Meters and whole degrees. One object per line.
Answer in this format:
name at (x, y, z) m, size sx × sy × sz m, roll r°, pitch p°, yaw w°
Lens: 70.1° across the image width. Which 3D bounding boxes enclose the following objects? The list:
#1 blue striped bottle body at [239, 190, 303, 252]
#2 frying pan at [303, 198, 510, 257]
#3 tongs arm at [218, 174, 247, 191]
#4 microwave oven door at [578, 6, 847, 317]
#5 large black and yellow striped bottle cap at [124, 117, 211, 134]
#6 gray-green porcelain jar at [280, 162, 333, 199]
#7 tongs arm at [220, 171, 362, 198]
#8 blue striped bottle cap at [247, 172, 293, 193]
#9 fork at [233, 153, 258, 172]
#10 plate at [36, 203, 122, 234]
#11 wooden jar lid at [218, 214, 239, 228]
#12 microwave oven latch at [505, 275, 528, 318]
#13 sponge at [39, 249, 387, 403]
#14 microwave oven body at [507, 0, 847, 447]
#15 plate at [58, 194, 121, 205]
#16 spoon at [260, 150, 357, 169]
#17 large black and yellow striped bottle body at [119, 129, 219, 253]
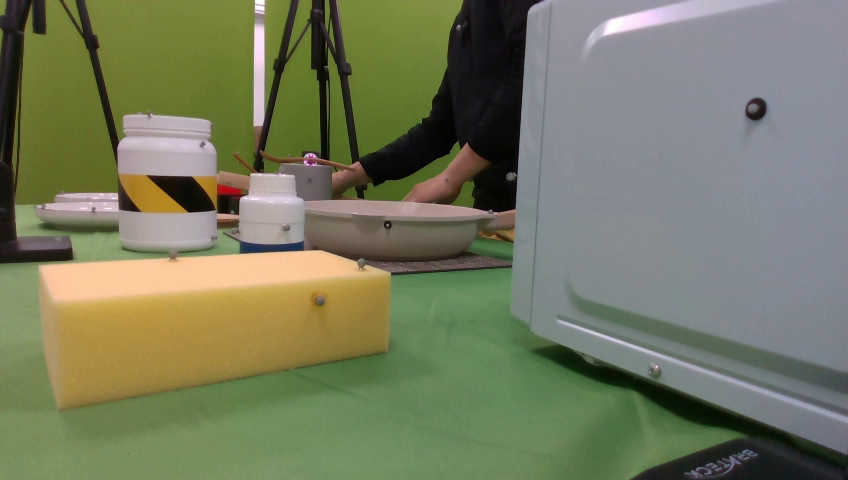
blue striped bottle body at (-0.153, -0.007, 0.605) m, size 0.063 × 0.120 × 0.063 m, roll 2°, pitch 7°, yaw 0°
frying pan at (0.050, -0.035, 0.915) m, size 0.487 × 0.102 × 0.307 m, roll -5°, pitch 7°, yaw 11°
tongs arm at (-0.292, -0.106, 1.438) m, size 0.390 × 0.027 × 0.028 m, roll 10°, pitch -18°, yaw -31°
microwave oven door at (0.294, -0.067, 0.570) m, size 0.358 × 0.243 × 0.039 m, roll -3°, pitch 9°, yaw -31°
large black and yellow striped bottle cap at (-0.366, -0.163, 0.866) m, size 0.115 × 0.019 × 0.115 m, roll 3°, pitch 7°, yaw 0°
gray-green porcelain jar at (-0.238, -0.092, 1.221) m, size 0.106 × 0.126 × 0.106 m, roll 2°, pitch 7°, yaw 0°
tongs arm at (-0.282, -0.109, 1.422) m, size 0.387 × 0.026 × 0.050 m, roll 8°, pitch -14°, yaw -26°
blue striped bottle cap at (-0.152, -0.057, 0.598) m, size 0.044 × 0.020 × 0.044 m, roll 3°, pitch 7°, yaw 0°
fork at (-0.396, -0.143, 1.486) m, size 0.028 × 0.018 × 0.208 m, roll 21°, pitch -26°, yaw 45°
plate at (-0.571, -0.040, 1.083) m, size 0.208 × 0.039 × 0.207 m, roll 2°, pitch 8°, yaw 0°
wooden jar lid at (-0.404, -0.037, 1.169) m, size 0.108 × 0.020 × 0.108 m, roll 3°, pitch 7°, yaw 0°
microwave oven latch at (0.100, 0.041, 0.473) m, size 0.079 × 0.029 × 0.030 m, roll -2°, pitch 8°, yaw -31°
sponge at (-0.142, 0.047, 0.420) m, size 0.208 × 0.061 × 0.117 m, roll -3°, pitch 8°, yaw -36°
microwave oven body at (0.331, -0.042, 0.425) m, size 0.444 × 0.260 × 0.324 m, roll -2°, pitch 8°, yaw -31°
plate at (-0.671, -0.074, 1.310) m, size 0.209 × 0.038 × 0.209 m, roll 2°, pitch 8°, yaw 0°
spoon at (-0.231, -0.162, 1.221) m, size 0.194 × 0.021 × 0.041 m, roll 3°, pitch 3°, yaw -15°
large black and yellow striped bottle body at (-0.367, -0.080, 0.876) m, size 0.131 × 0.184 × 0.130 m, roll 2°, pitch 7°, yaw 0°
